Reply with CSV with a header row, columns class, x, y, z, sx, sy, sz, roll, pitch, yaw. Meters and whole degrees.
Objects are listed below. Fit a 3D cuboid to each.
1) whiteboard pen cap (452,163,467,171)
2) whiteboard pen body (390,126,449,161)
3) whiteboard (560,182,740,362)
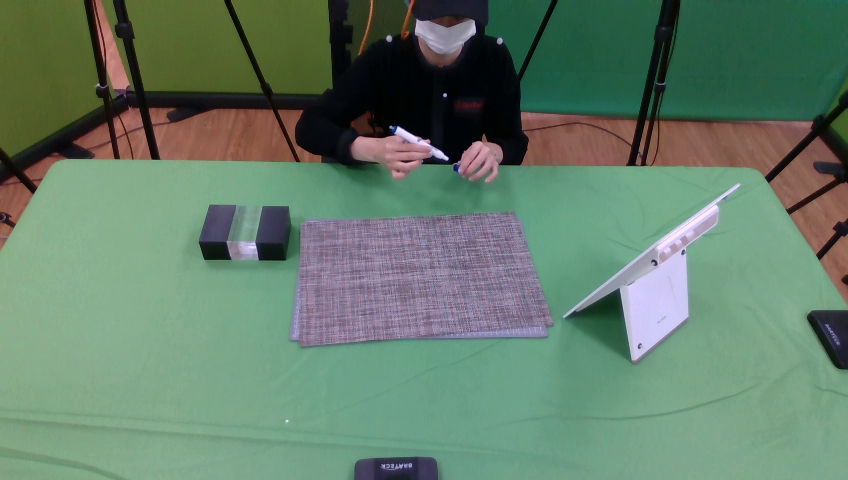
class,x,y,z,sx,sy,sz,roll,pitch,yaw
whiteboard pen cap,0.073,-0.153,1.260,0.033,0.018,0.018,-2,42,-36
whiteboard pen body,-0.007,-0.190,1.208,0.141,0.017,0.017,25,41,-25
whiteboard,0.406,0.075,1.001,0.217,0.306,0.143,-28,73,-28
